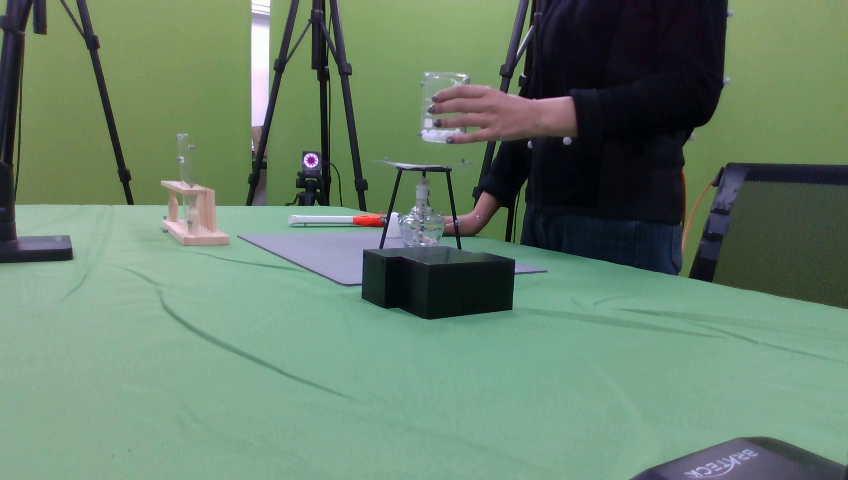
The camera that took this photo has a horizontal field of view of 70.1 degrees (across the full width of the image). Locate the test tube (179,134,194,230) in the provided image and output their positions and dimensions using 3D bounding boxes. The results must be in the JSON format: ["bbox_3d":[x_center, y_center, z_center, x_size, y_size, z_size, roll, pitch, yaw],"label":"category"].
[{"bbox_3d":[-0.366,-0.089,0.938,0.017,0.150,0.017,-1,9,1],"label":"test tube"}]

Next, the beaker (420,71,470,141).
[{"bbox_3d":[0.032,-0.201,0.917,0.073,0.100,0.084,9,13,28],"label":"beaker"}]

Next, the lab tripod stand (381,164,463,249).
[{"bbox_3d":[-0.003,-0.055,0.967,0.148,0.131,0.148,2,9,0],"label":"lab tripod stand"}]

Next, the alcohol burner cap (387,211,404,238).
[{"bbox_3d":[-0.053,-0.029,1.107,0.034,0.048,0.034,3,8,0],"label":"alcohol burner cap"}]

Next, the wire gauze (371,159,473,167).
[{"bbox_3d":[-0.004,-0.122,0.959,0.122,0.011,0.124,-4,9,-33],"label":"wire gauze"}]

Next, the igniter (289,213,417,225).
[{"bbox_3d":[-0.144,-0.044,1.275,0.278,0.025,0.057,-1,-2,-27],"label":"igniter"}]

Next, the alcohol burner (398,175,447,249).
[{"bbox_3d":[-0.002,-0.046,0.973,0.078,0.119,0.078,0,7,0],"label":"alcohol burner"}]

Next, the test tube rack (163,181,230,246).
[{"bbox_3d":[-0.387,-0.050,1.015,0.067,0.085,0.241,-2,9,-30],"label":"test tube rack"}]
